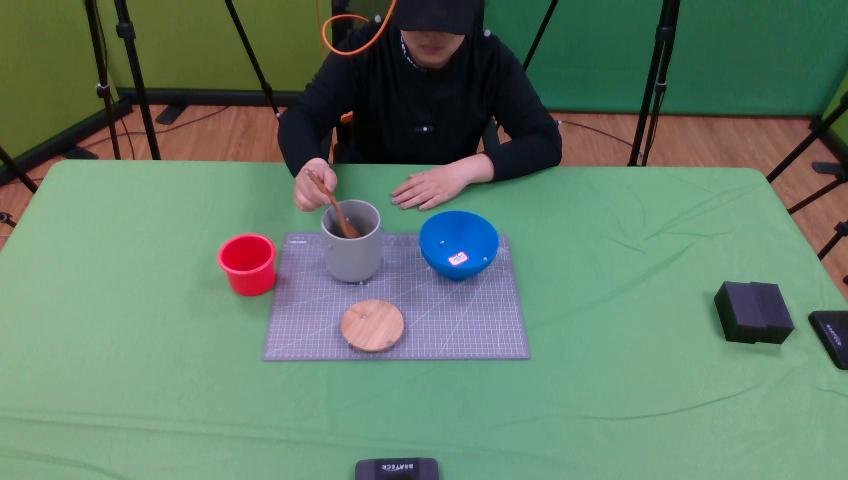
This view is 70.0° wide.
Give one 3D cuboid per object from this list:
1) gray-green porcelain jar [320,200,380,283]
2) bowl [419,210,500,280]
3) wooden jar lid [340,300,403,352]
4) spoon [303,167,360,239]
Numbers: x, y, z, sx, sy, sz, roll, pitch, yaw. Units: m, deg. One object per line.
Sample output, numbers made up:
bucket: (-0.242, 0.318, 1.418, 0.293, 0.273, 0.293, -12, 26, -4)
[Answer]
gray-green porcelain jar: (-0.132, 0.007, 1.106, 0.106, 0.127, 0.105, 2, 46, -2)
bowl: (0.062, 0.022, 1.140, 0.151, 0.077, 0.150, 2, 46, -2)
wooden jar lid: (-0.090, 0.150, 1.046, 0.108, 0.021, 0.107, 3, 47, -3)
spoon: (-0.158, -0.058, 1.056, 0.021, 0.195, 0.041, -17, 44, 9)
